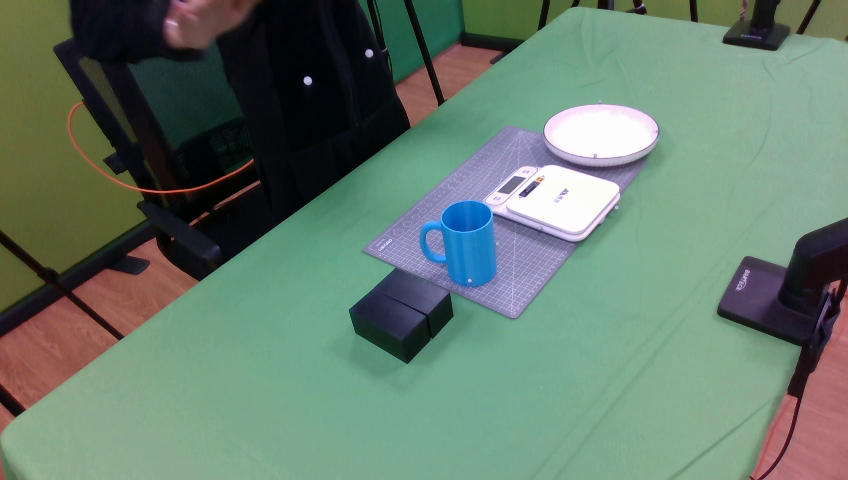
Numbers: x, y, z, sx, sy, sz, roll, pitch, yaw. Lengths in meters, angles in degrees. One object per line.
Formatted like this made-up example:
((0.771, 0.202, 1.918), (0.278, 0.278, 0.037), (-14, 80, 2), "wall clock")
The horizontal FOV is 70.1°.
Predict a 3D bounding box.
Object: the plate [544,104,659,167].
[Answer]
((0.328, -0.192, 1.131), (0.209, 0.038, 0.208), (-4, 39, 4), "plate")

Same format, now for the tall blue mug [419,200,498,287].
((0.053, 0.009, 0.889), (0.107, 0.108, 0.077), (-15, 41, -7), "tall blue mug")

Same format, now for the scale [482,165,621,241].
((0.211, -0.070, 1.014), (0.199, 0.032, 0.149), (23, 49, 33), "scale")
